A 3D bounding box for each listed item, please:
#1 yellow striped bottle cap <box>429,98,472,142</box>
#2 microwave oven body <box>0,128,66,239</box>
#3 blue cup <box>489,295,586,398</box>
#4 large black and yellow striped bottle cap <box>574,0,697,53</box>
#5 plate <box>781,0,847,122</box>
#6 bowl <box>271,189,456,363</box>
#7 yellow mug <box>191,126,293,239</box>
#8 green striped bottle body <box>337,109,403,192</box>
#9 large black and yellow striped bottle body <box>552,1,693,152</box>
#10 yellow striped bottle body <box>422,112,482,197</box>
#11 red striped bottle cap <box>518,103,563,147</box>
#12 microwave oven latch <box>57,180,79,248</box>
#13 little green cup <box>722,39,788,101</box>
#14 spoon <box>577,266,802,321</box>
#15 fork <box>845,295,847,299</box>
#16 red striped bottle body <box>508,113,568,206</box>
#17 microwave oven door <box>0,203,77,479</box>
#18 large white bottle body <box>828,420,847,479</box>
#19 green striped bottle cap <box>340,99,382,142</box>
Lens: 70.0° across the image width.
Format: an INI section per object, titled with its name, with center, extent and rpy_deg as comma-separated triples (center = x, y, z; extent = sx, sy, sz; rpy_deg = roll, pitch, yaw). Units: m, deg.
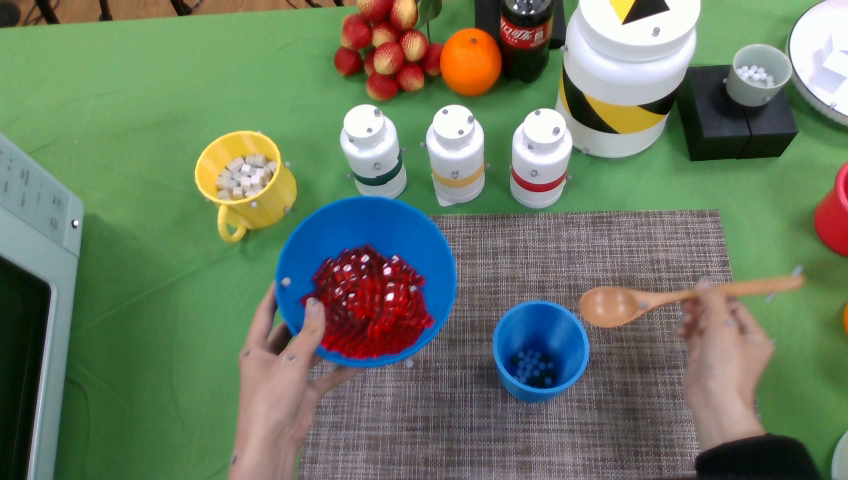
[yellow striped bottle cap]
center = 0.028, -0.125, 0.631
extent = 0.044, 0.019, 0.044
rpy_deg = -2, 67, 4
[microwave oven body]
center = -0.557, 0.113, 0.553
extent = 0.326, 0.262, 0.438
rpy_deg = -10, 65, 1
[blue cup]
center = 0.105, 0.110, 0.579
extent = 0.092, 0.101, 0.092
rpy_deg = -3, 64, 6
[large black and yellow striped bottle cap]
center = 0.205, -0.232, 0.592
extent = 0.115, 0.019, 0.114
rpy_deg = -2, 64, 5
[plate]
center = 0.535, -0.216, 0.726
extent = 0.209, 0.038, 0.207
rpy_deg = -2, 66, 5
[bowl]
center = -0.050, 0.039, 0.531
extent = 0.151, 0.077, 0.150
rpy_deg = 1, 69, -3
[yellow mug]
center = -0.217, -0.062, 0.713
extent = 0.100, 0.064, 0.130
rpy_deg = 8, 67, 9
[green striped bottle body]
center = -0.061, -0.105, 0.687
extent = 0.063, 0.120, 0.062
rpy_deg = -2, 65, 5
[large black and yellow striped bottle body]
center = 0.214, -0.198, 0.668
extent = 0.130, 0.185, 0.129
rpy_deg = -2, 65, 5
[yellow striped bottle body]
center = 0.033, -0.103, 0.677
extent = 0.063, 0.121, 0.062
rpy_deg = -3, 65, 6
[red striped bottle cap]
center = 0.119, -0.118, 0.618
extent = 0.044, 0.018, 0.044
rpy_deg = 0, 64, 1
[microwave oven latch]
center = -0.428, -0.029, 0.712
extent = 0.030, 0.030, 0.078
rpy_deg = -8, 65, 1
[little green cup]
center = 0.365, -0.187, 0.674
extent = 0.061, 0.039, 0.061
rpy_deg = -2, 64, 3
[spoon]
center = 0.239, 0.044, 0.554
extent = 0.193, 0.022, 0.041
rpy_deg = -11, 64, 19
[fork]
center = 0.483, 0.076, 0.535
extent = 0.028, 0.019, 0.205
rpy_deg = -34, 22, -15
[red striped bottle body]
center = 0.125, -0.094, 0.666
extent = 0.063, 0.121, 0.062
rpy_deg = -5, 61, 9
[microwave oven door]
center = -0.408, 0.124, 0.528
extent = 0.039, 0.246, 0.352
rpy_deg = -10, 65, 2
[large white bottle body]
center = 0.427, 0.180, 0.472
extent = 0.130, 0.186, 0.129
rpy_deg = -2, 64, 5
[green striped bottle cap]
center = -0.067, -0.127, 0.640
extent = 0.044, 0.020, 0.044
rpy_deg = -2, 64, 4
